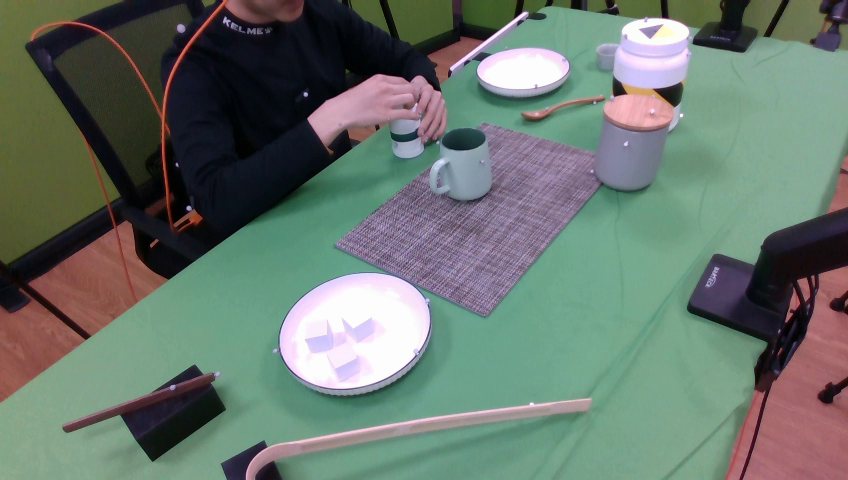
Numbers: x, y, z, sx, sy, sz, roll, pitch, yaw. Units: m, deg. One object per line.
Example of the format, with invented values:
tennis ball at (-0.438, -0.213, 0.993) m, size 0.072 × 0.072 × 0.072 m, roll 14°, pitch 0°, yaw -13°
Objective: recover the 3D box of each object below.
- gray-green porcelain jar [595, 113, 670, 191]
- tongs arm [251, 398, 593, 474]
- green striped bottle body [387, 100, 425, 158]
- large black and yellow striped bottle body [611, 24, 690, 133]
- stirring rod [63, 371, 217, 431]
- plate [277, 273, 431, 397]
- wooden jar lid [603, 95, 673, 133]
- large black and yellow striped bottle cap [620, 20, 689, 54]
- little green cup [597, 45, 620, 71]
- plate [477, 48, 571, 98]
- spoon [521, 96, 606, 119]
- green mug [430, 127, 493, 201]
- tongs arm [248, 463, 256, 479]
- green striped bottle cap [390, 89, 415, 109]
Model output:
gray-green porcelain jar at (0.346, -0.155, 1.017) m, size 0.106 × 0.127 × 0.105 m, roll -2°, pitch 44°, yaw 2°
tongs arm at (0.008, 0.212, 0.675) m, size 0.389 × 0.028 × 0.028 m, roll -5°, pitch 46°, yaw -11°
green striped bottle body at (-0.035, -0.223, 1.160) m, size 0.063 × 0.120 × 0.063 m, roll -4°, pitch 39°, yaw 4°
large black and yellow striped bottle body at (0.420, -0.299, 1.132) m, size 0.131 × 0.185 × 0.130 m, roll -5°, pitch 40°, yaw 4°
stirring rod at (-0.337, 0.192, 0.723) m, size 0.177 × 0.014 × 0.005 m, roll -18°, pitch 43°, yaw -12°
plate at (-0.091, 0.129, 0.821) m, size 0.207 × 0.039 × 0.206 m, roll -4°, pitch 40°, yaw 4°
wooden jar lid at (0.343, -0.200, 0.974) m, size 0.108 × 0.021 × 0.108 m, roll -2°, pitch 39°, yaw 2°
large black and yellow striped bottle cap at (0.411, -0.363, 1.080) m, size 0.115 × 0.019 × 0.114 m, roll -4°, pitch 42°, yaw 4°
little green cup at (0.423, -0.413, 1.376) m, size 0.061 × 0.039 × 0.061 m, roll -4°, pitch 41°, yaw 4°
plate at (0.223, -0.371, 1.357) m, size 0.209 × 0.038 × 0.208 m, roll -4°, pitch 41°, yaw 4°
spoon at (0.291, -0.277, 1.249) m, size 0.194 × 0.022 × 0.041 m, roll -18°, pitch 22°, yaw -11°
green mug at (0.060, -0.122, 1.034) m, size 0.126 × 0.105 × 0.091 m, roll -35°, pitch 48°, yaw -28°
tongs arm at (0.012, 0.262, 0.615) m, size 0.385 × 0.026 × 0.050 m, roll 2°, pitch 41°, yaw -2°
green striped bottle cap at (-0.040, -0.263, 1.127) m, size 0.044 × 0.020 × 0.044 m, roll -8°, pitch 42°, yaw 8°
